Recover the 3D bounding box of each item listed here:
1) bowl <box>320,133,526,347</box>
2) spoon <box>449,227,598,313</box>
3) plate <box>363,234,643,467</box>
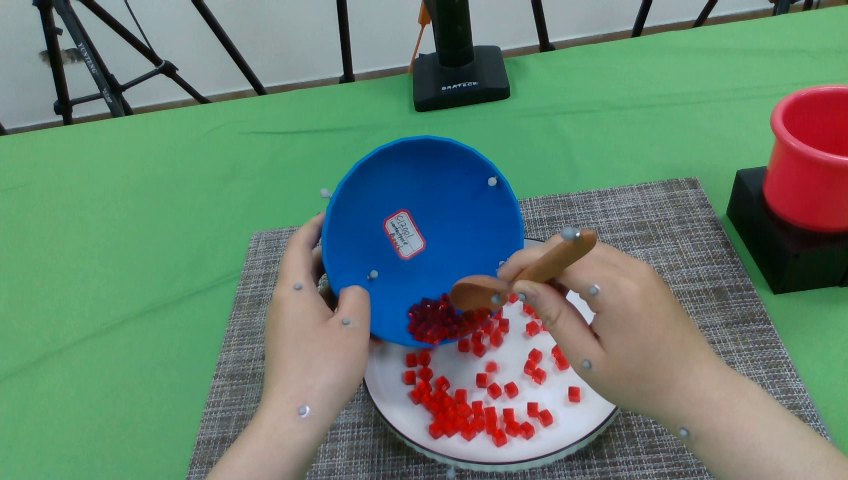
[{"bbox_3d":[-0.008,-0.001,0.458,0.151,0.152,0.076,-26,12,-15],"label":"bowl"},{"bbox_3d":[0.054,0.023,0.358,0.042,0.194,0.021,20,75,-8],"label":"spoon"},{"bbox_3d":[0.058,0.079,0.467,0.207,0.039,0.205,-6,45,6],"label":"plate"}]
